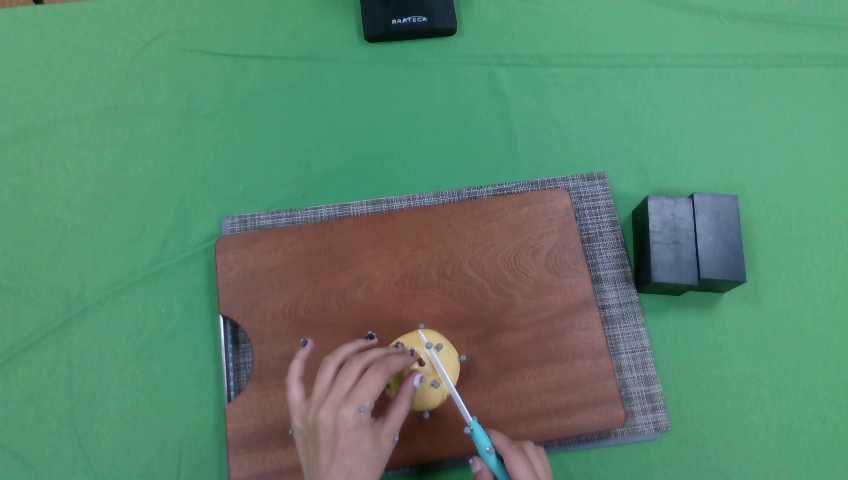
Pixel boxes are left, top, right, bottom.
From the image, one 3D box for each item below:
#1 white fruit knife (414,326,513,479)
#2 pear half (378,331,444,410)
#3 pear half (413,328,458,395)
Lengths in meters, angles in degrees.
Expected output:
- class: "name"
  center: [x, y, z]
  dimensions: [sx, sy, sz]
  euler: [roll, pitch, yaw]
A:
- class: "white fruit knife"
  center: [0.041, 0.166, 0.541]
  dimensions: [0.016, 0.027, 0.207]
  euler: [-31, 95, -19]
- class: "pear half"
  center: [-0.016, 0.126, 0.573]
  dimensions: [0.056, 0.110, 0.076]
  euler: [-30, 71, -11]
- class: "pear half"
  center: [0.015, 0.113, 0.589]
  dimensions: [0.031, 0.088, 0.070]
  euler: [-31, 70, -10]
